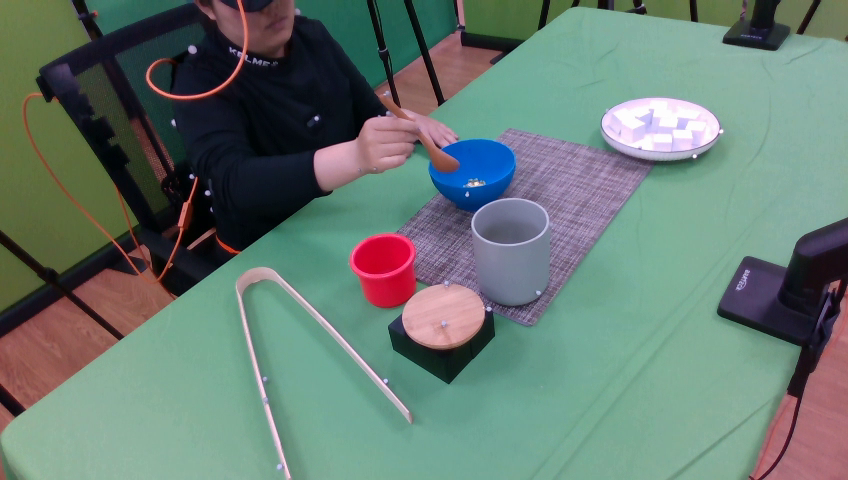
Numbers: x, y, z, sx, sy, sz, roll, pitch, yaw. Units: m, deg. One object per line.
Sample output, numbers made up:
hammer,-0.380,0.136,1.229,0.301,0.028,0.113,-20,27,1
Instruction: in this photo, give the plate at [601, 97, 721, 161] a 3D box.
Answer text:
plate,0.436,-0.203,1.126,0.209,0.038,0.208,-5,39,5

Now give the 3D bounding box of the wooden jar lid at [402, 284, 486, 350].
wooden jar lid,0.026,0.101,0.786,0.108,0.021,0.108,-5,39,4

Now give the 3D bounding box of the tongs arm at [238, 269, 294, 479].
tongs arm,-0.208,0.163,0.824,0.051,0.026,0.381,-22,40,-15

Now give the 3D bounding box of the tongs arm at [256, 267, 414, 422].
tongs arm,-0.137,0.132,0.853,0.028,0.028,0.384,-34,45,-23

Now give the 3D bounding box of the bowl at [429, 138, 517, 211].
bowl,0.087,-0.104,1.043,0.151,0.077,0.150,-5,40,5

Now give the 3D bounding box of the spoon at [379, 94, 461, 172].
spoon,-0.007,-0.156,0.908,0.041,0.195,0.021,-18,48,32

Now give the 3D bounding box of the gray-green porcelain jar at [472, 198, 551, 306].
gray-green porcelain jar,0.125,0.021,0.850,0.106,0.127,0.105,-6,40,5
